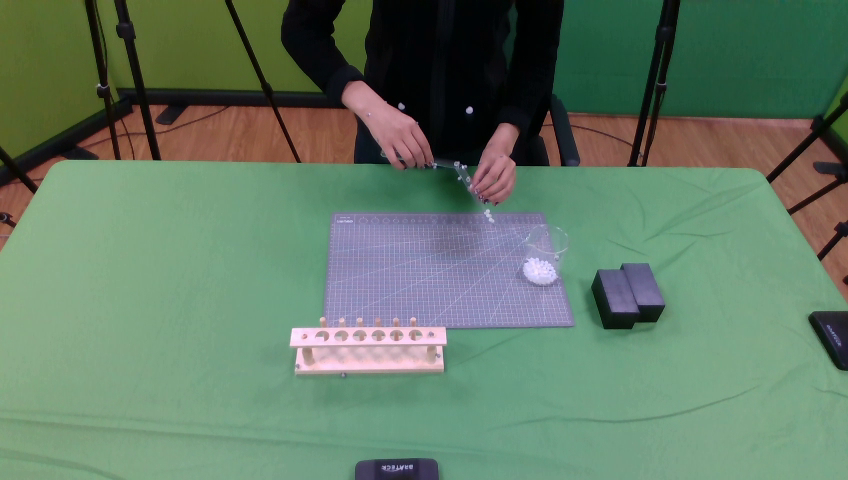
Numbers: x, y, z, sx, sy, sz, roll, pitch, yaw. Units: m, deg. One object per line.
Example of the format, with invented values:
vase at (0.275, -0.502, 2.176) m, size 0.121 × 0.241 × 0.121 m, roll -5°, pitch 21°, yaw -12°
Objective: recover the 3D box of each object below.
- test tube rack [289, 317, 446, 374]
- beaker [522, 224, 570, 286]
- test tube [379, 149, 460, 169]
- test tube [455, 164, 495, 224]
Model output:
test tube rack at (-0.089, 0.167, 0.987) m, size 0.242 × 0.085 × 0.066 m, roll 0°, pitch 46°, yaw -4°
beaker at (0.221, 0.032, 1.129) m, size 0.084 × 0.101 × 0.073 m, roll -6°, pitch 46°, yaw -9°
test tube at (-0.008, -0.150, 1.115) m, size 0.150 × 0.017 × 0.017 m, roll 9°, pitch 46°, yaw 0°
test tube at (0.099, -0.085, 1.157) m, size 0.017 × 0.151 × 0.017 m, roll -24°, pitch 34°, yaw 17°
